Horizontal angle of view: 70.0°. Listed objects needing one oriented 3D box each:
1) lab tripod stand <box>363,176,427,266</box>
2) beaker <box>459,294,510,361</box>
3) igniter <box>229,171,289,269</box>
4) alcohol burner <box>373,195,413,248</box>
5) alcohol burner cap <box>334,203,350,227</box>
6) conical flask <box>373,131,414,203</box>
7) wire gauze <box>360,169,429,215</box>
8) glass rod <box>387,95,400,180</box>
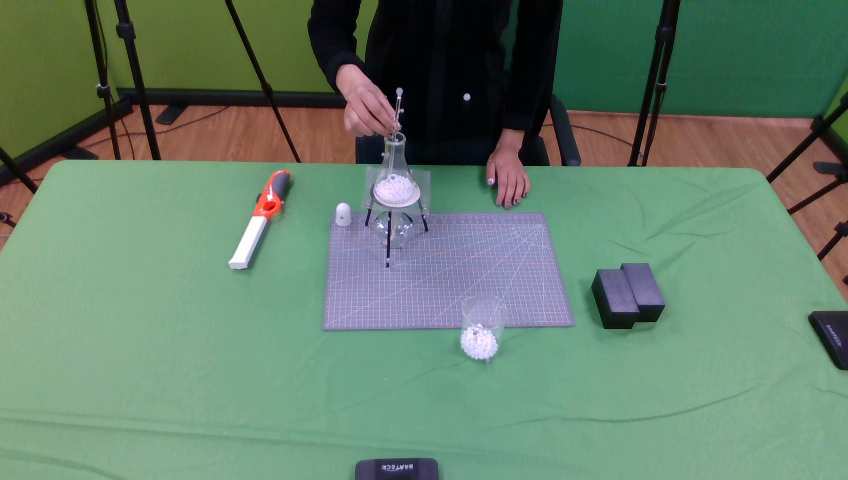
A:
[{"bbox_3d":[-0.058,-0.047,1.159,0.148,0.132,0.147,3,44,-2],"label":"lab tripod stand"},{"bbox_3d":[0.095,0.147,1.012,0.083,0.101,0.074,26,49,21],"label":"beaker"},{"bbox_3d":[-0.328,-0.049,1.218,0.057,0.025,0.275,1,45,11],"label":"igniter"},{"bbox_3d":[-0.059,-0.041,1.167,0.078,0.119,0.077,4,46,-4],"label":"alcohol burner"},{"bbox_3d":[-0.166,-0.054,1.221,0.034,0.048,0.033,2,46,-2],"label":"alcohol burner cap"},{"bbox_3d":[-0.053,-0.131,1.067,0.075,0.122,0.075,2,43,-2],"label":"conical flask"},{"bbox_3d":[-0.052,-0.092,1.112,0.125,0.011,0.120,3,43,1],"label":"wire gauze"},{"bbox_3d":[-0.052,-0.171,1.042,0.008,0.200,0.008,4,54,-6],"label":"glass rod"}]
